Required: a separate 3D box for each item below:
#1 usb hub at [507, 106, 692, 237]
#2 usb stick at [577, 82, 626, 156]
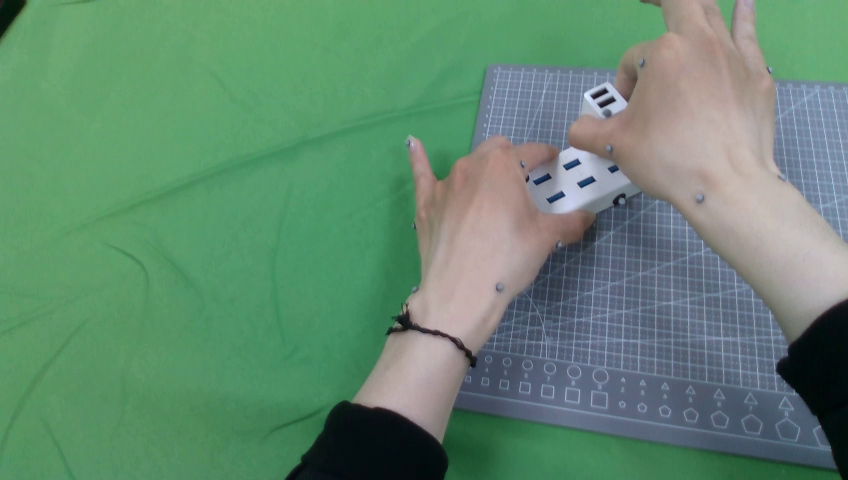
[{"bbox_3d":[0.126,-0.052,0.440,0.125,0.025,0.049,-27,52,-7],"label":"usb hub"},{"bbox_3d":[0.123,-0.080,0.424,0.021,0.060,0.027,-29,59,-5],"label":"usb stick"}]
